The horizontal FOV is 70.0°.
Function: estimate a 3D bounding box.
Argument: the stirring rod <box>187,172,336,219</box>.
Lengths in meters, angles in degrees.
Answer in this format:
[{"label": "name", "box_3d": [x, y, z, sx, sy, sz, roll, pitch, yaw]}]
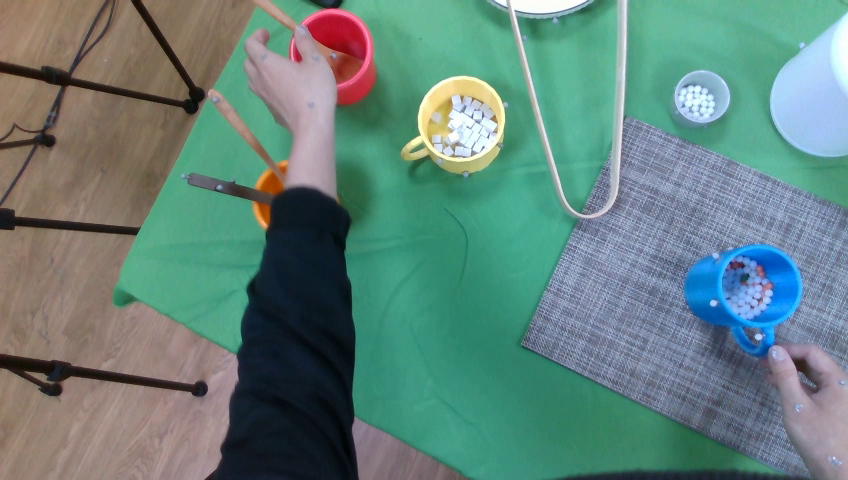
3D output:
[{"label": "stirring rod", "box_3d": [-0.179, -0.049, 0.689, 0.177, 0.006, 0.014, 14, 79, -35]}]

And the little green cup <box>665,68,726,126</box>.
[{"label": "little green cup", "box_3d": [0.313, -0.163, 0.705, 0.061, 0.039, 0.061, 0, 85, 5]}]

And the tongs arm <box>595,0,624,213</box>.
[{"label": "tongs arm", "box_3d": [0.216, -0.224, 0.703, 0.028, 0.028, 0.387, 1, 91, -3]}]

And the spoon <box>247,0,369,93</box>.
[{"label": "spoon", "box_3d": [-0.142, -0.237, 0.701, 0.196, 0.021, 0.041, 34, 91, -36]}]

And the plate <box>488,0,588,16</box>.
[{"label": "plate", "box_3d": [0.142, -0.370, 0.740, 0.207, 0.039, 0.207, -1, 85, 6]}]

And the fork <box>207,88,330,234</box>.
[{"label": "fork", "box_3d": [-0.173, -0.084, 0.686, 0.028, 0.018, 0.209, -37, 126, -3]}]

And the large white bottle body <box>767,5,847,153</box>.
[{"label": "large white bottle body", "box_3d": [0.455, -0.173, 0.619, 0.130, 0.185, 0.130, -1, 84, 6]}]

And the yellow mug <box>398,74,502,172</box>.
[{"label": "yellow mug", "box_3d": [0.028, -0.129, 0.714, 0.131, 0.064, 0.099, -27, 83, 4]}]

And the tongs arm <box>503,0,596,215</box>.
[{"label": "tongs arm", "box_3d": [0.133, -0.212, 0.707, 0.051, 0.026, 0.384, -13, 91, 1]}]

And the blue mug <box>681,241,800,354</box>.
[{"label": "blue mug", "box_3d": [0.336, 0.063, 0.644, 0.082, 0.106, 0.116, -13, 83, 4]}]
